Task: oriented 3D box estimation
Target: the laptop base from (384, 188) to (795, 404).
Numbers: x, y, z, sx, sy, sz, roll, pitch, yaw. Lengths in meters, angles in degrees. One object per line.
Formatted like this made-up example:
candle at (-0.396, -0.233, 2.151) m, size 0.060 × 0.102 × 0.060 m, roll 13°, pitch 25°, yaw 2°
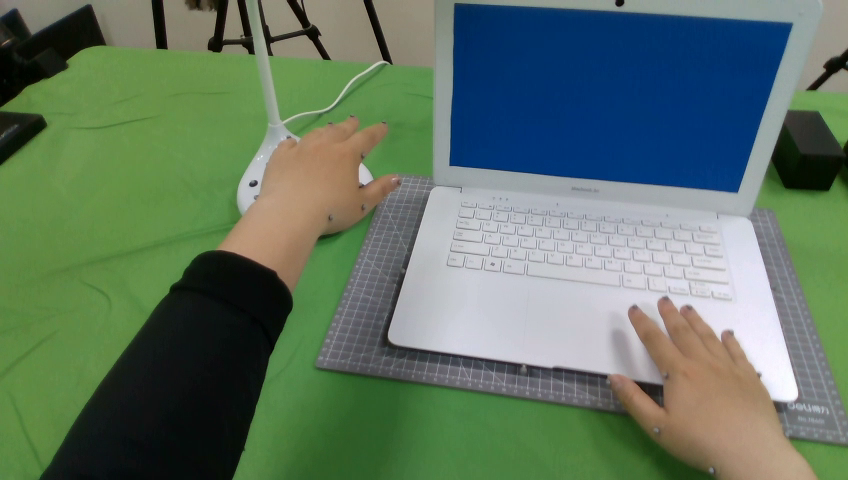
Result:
laptop base at (0.156, 0.043, 0.607) m, size 0.354 × 0.023 × 0.233 m, roll 6°, pitch 46°, yaw 8°

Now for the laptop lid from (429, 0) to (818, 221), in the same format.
laptop lid at (0.179, -0.133, 0.625) m, size 0.356 × 0.244 × 0.013 m, roll 5°, pitch 35°, yaw 9°

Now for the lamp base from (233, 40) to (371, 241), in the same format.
lamp base at (-0.152, -0.117, 0.671) m, size 0.161 × 0.182 × 0.177 m, roll -30°, pitch 47°, yaw -28°
